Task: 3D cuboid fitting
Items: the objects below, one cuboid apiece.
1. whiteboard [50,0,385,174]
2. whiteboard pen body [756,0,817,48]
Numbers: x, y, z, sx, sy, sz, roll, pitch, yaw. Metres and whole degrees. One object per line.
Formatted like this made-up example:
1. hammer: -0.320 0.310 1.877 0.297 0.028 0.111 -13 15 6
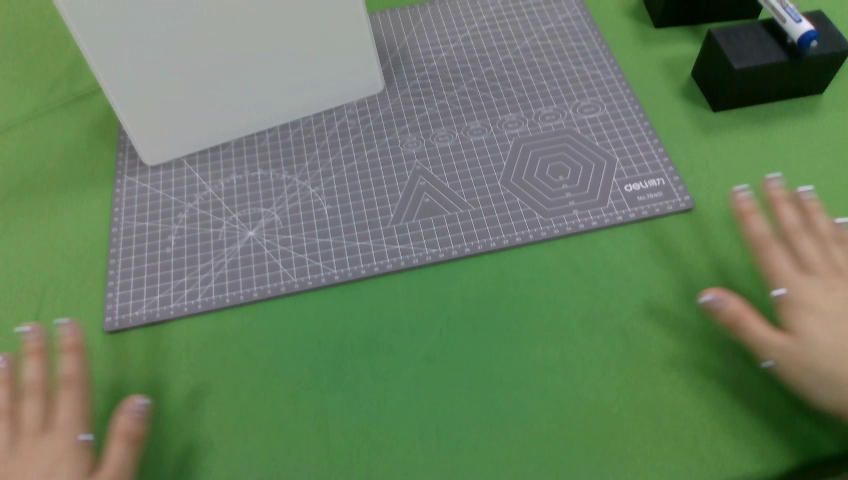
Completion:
1. whiteboard: -0.182 -0.247 0.481 0.217 0.308 0.142 -20 40 -9
2. whiteboard pen body: 0.282 -0.210 0.509 0.017 0.017 0.139 -15 58 -6
